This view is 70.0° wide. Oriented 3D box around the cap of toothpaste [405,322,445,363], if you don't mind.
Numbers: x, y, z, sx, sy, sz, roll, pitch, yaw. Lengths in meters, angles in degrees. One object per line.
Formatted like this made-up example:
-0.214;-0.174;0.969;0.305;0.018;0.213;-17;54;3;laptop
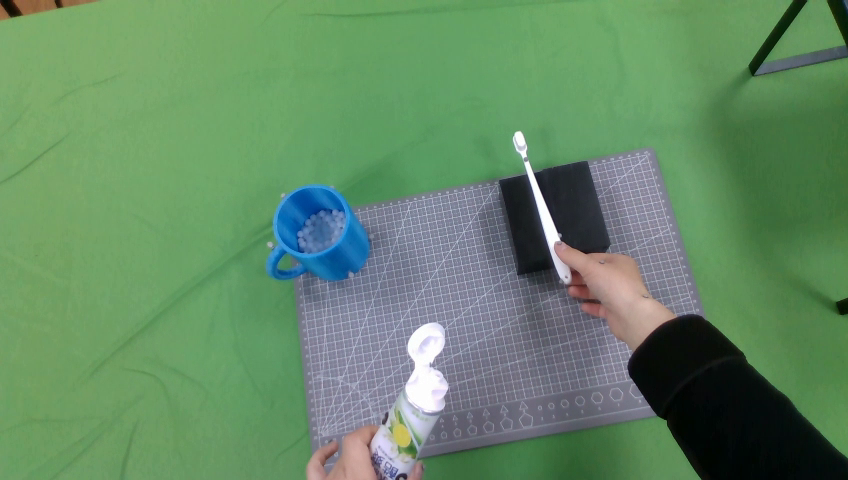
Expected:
0.002;0.081;0.477;0.037;0.038;0.011;-43;40;-7;cap of toothpaste

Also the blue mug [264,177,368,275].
-0.125;-0.002;0.674;0.116;0.106;0.082;-38;74;-5;blue mug

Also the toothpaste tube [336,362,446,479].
-0.028;0.166;0.493;0.054;0.035;0.165;36;111;26;toothpaste tube

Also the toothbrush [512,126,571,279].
0.127;-0.044;0.656;0.014;0.017;0.180;-14;74;-5;toothbrush
